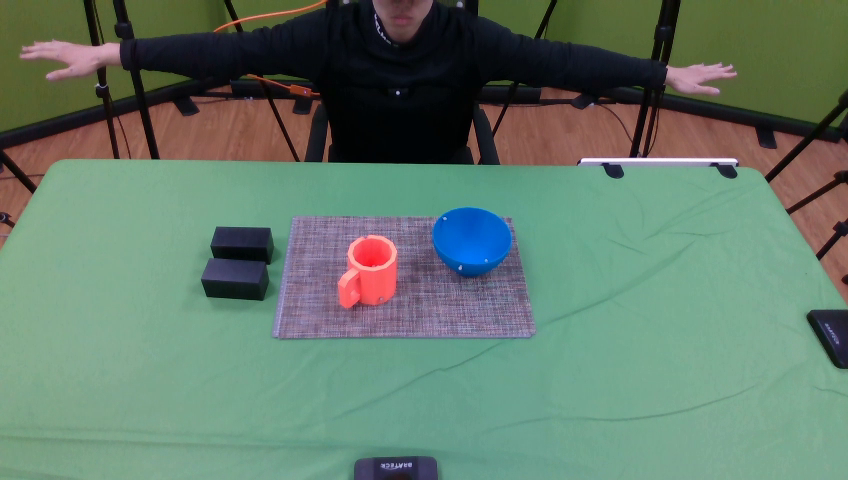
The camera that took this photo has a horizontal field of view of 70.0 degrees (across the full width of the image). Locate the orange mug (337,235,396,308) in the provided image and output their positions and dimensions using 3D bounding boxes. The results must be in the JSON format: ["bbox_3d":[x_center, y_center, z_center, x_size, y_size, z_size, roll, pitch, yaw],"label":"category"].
[{"bbox_3d":[-0.104,0.063,1.073,0.083,0.101,0.126,32,48,24],"label":"orange mug"}]

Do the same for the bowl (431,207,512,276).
[{"bbox_3d":[0.086,0.016,1.147,0.151,0.077,0.150,2,46,-2],"label":"bowl"}]
